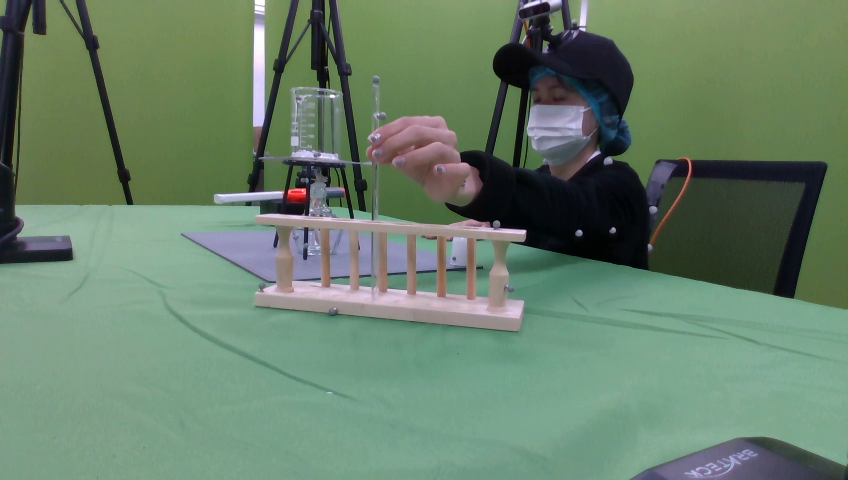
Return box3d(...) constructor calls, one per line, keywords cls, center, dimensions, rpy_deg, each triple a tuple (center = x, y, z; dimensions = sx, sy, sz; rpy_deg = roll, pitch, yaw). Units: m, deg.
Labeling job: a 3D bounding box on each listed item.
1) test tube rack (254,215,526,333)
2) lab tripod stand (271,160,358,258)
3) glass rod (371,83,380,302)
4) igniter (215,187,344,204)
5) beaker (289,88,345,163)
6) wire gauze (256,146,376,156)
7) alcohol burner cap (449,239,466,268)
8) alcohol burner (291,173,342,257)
box3d(cls="test tube rack", center=(-0.030, 0.025, 0.557), dimensions=(0.242, 0.085, 0.067), rpy_deg=(4, 7, 12))
box3d(cls="lab tripod stand", center=(-0.159, -0.047, 0.876), dimensions=(0.148, 0.131, 0.148), rpy_deg=(3, 5, 0))
box3d(cls="glass rod", center=(-0.043, -0.041, 0.548), dimensions=(0.008, 0.199, 0.008), rpy_deg=(0, 2, 0))
box3d(cls="igniter", center=(-0.289, -0.093, 1.255), dimensions=(0.278, 0.025, 0.057), rpy_deg=(-6, 12, -34))
box3d(cls="beaker", center=(-0.157, -0.160, 0.862), dimensions=(0.083, 0.100, 0.074), rpy_deg=(7, 7, 34))
box3d(cls="wire gauze", center=(-0.155, -0.128, 0.871), dimensions=(0.124, 0.011, 0.122), rpy_deg=(2, 7, 36))
box3d(cls="alcohol burner cap", center=(0.051, 0.014, 0.827), dimensions=(0.034, 0.048, 0.034), rpy_deg=(2, 5, 0))
box3d(cls="alcohol burner", center=(-0.155, -0.037, 0.870), dimensions=(0.078, 0.119, 0.078), rpy_deg=(1, 6, 0))
